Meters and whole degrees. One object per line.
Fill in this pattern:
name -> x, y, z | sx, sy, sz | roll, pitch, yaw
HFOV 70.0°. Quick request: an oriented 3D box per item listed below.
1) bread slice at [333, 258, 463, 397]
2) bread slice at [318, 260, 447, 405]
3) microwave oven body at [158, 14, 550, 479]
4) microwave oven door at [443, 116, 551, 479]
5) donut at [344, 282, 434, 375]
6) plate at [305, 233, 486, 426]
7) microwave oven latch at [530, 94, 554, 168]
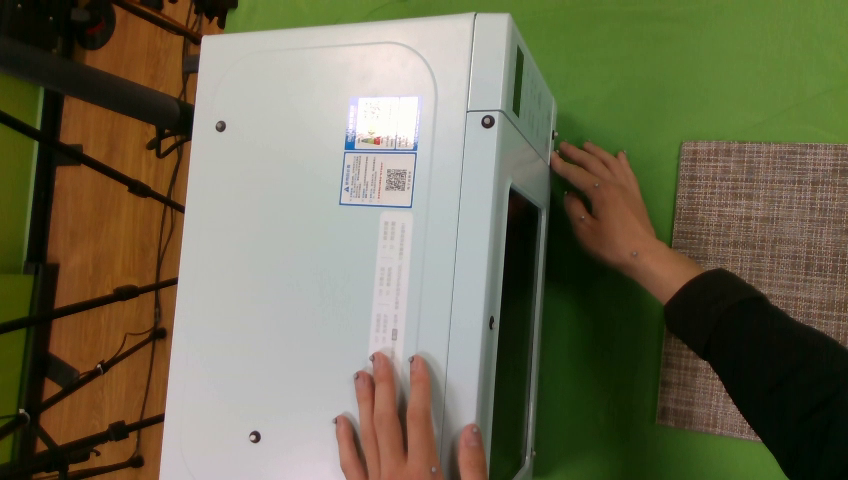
bread slice -> -0.038, 0.088, 0.661 | 0.107, 0.018, 0.133 | -45, 68, 4
bread slice -> -0.053, 0.089, 0.617 | 0.105, 0.019, 0.131 | -40, 76, 17
microwave oven body -> -0.058, 0.040, 0.627 | 0.324, 0.261, 0.441 | 3, 87, 21
microwave oven door -> 0.073, 0.088, 0.568 | 0.039, 0.245, 0.355 | 3, 87, 22
donut -> -0.038, 0.093, 0.639 | 0.099, 0.048, 0.099 | -1, 85, 15
plate -> -0.031, 0.096, 0.666 | 0.207, 0.039, 0.207 | -1, 86, 18
microwave oven latch -> 0.128, -0.120, 0.672 | 0.030, 0.029, 0.079 | 4, 88, 21
